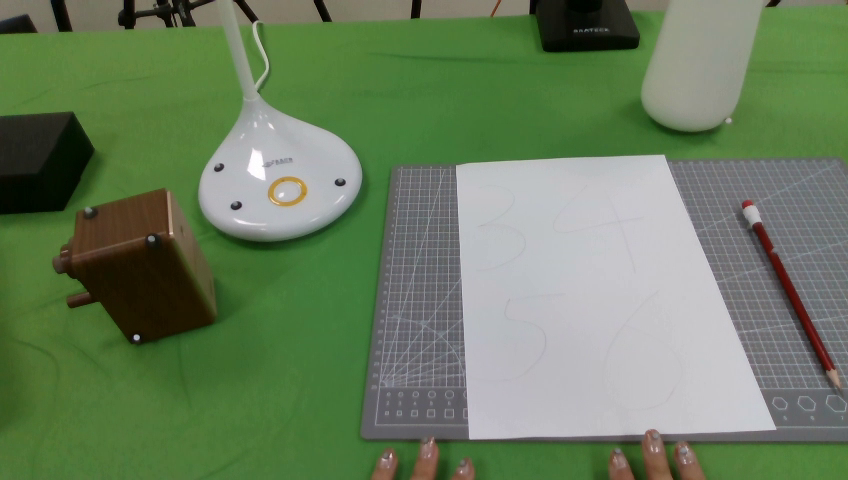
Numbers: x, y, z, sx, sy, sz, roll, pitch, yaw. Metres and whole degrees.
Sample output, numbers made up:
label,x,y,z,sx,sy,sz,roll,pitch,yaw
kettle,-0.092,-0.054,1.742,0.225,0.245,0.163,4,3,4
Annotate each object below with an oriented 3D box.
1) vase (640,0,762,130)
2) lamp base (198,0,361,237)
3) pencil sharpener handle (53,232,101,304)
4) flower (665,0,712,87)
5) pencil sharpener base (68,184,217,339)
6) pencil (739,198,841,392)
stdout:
label,x,y,z,sx,sy,sz,roll,pitch,yaw
vase,0.276,-0.209,0.594,0.098,0.202,0.097,-3,46,3
lamp base,-0.153,-0.123,0.555,0.161,0.182,0.177,-24,48,-18
pencil sharpener handle,-0.267,0.025,0.459,0.031,0.068,0.035,-16,52,-10
flower,0.265,-0.249,0.520,0.044,0.364,0.038,42,75,19
pencil sharpener base,-0.218,0.020,0.477,0.077,0.108,0.060,-16,49,-10
pencil,0.295,0.036,0.493,0.012,0.012,0.192,-3,49,2
